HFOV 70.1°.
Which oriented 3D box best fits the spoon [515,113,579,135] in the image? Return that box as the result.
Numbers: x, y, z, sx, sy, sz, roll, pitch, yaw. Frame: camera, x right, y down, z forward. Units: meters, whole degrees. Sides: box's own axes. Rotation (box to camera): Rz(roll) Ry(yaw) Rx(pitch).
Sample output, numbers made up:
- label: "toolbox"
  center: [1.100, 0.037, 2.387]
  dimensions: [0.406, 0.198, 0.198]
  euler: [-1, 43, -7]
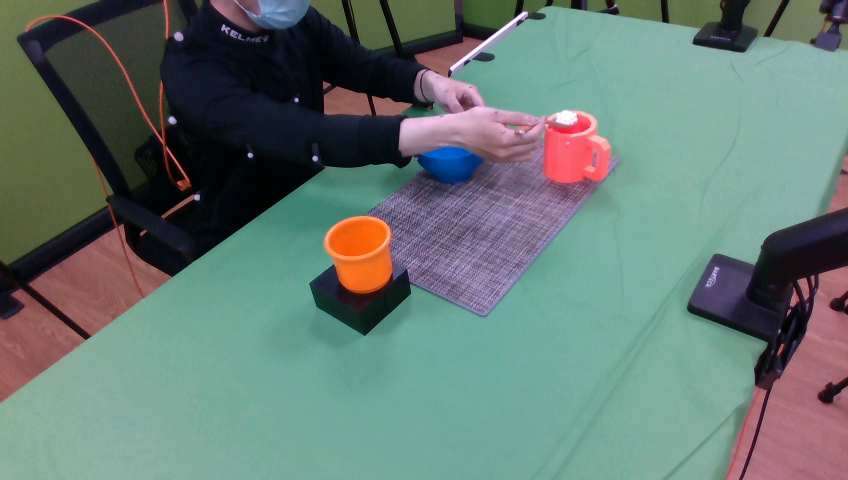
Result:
- label: "spoon"
  center: [0.194, -0.186, 0.964]
  dimensions: [0.041, 0.021, 0.195]
  euler: [16, 22, 35]

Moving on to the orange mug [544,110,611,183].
- label: "orange mug"
  center: [0.266, -0.157, 1.049]
  dimensions: [0.084, 0.101, 0.125]
  euler: [-33, 42, -26]

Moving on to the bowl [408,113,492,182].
- label: "bowl"
  center: [0.050, -0.158, 1.097]
  dimensions: [0.151, 0.077, 0.150]
  euler: [-4, 40, 4]
